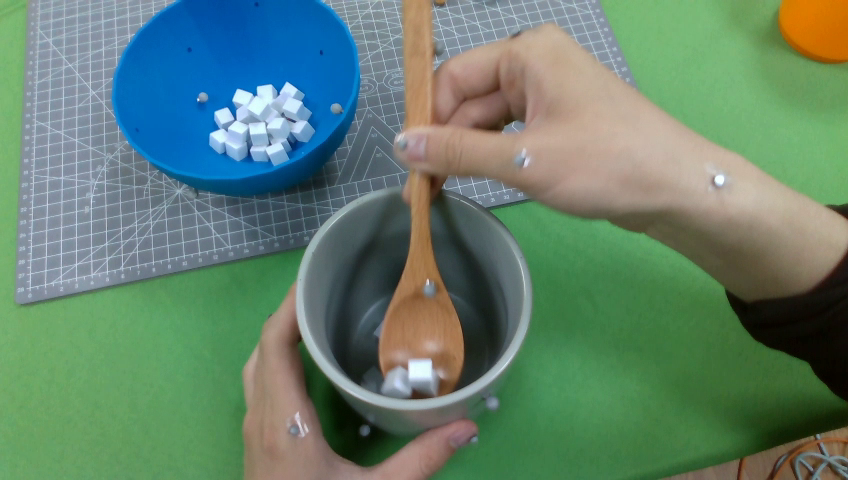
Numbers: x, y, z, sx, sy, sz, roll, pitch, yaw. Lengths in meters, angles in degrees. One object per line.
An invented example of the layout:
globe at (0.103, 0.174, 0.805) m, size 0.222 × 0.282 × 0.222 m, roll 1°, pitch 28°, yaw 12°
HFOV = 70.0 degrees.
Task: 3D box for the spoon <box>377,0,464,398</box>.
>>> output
spoon at (-0.001, -0.019, 0.274) m, size 0.041 × 0.021 × 0.194 m, roll 1°, pitch 103°, yaw 6°

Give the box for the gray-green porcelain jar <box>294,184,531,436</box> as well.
gray-green porcelain jar at (-0.004, 0.046, 0.322) m, size 0.106 × 0.127 × 0.105 m, roll 0°, pitch 66°, yaw 1°

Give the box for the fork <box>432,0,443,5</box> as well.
fork at (-0.015, -0.289, 0.487) m, size 0.028 × 0.018 × 0.207 m, roll -15°, pitch 86°, yaw -11°

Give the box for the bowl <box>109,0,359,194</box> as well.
bowl at (-0.114, -0.087, 0.402) m, size 0.151 × 0.077 × 0.150 m, roll 0°, pitch 67°, yaw 1°
